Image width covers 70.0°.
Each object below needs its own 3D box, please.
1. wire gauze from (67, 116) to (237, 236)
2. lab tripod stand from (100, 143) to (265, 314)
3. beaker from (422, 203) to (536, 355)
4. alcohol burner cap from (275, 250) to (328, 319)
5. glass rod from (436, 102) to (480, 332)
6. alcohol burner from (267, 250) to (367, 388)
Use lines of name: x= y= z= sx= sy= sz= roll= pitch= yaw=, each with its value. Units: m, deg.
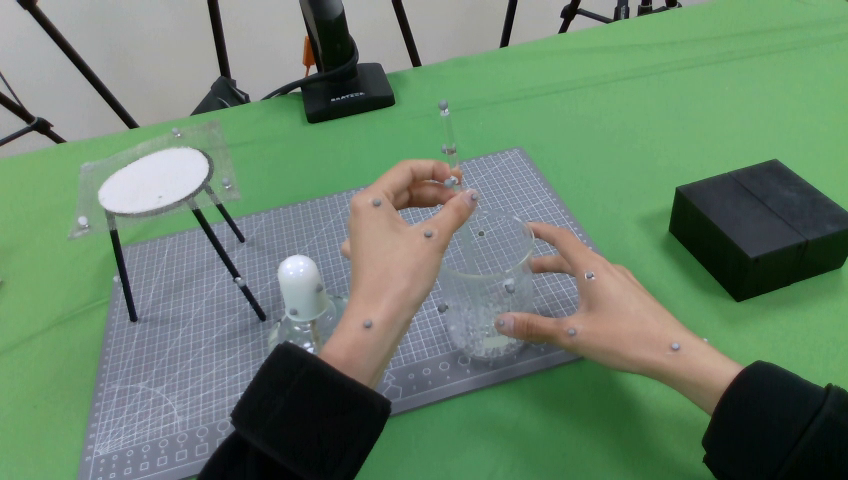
wire gauze: x=-0.218 y=-0.053 z=0.483 sx=0.125 sy=0.011 sz=0.120 roll=-19 pitch=42 yaw=-10
lab tripod stand: x=-0.210 y=-0.004 z=0.528 sx=0.148 sy=0.133 sz=0.147 roll=-5 pitch=44 yaw=5
beaker: x=0.045 y=0.034 z=0.465 sx=0.084 sy=0.101 sz=0.073 roll=-18 pitch=42 yaw=-8
alcohol burner cap: x=-0.089 y=0.029 z=0.429 sx=0.034 sy=0.048 sz=0.033 roll=-4 pitch=39 yaw=4
glass rod: x=0.026 y=-0.005 z=0.432 sx=0.008 sy=0.201 sz=0.008 roll=-7 pitch=37 yaw=6
alcohol burner: x=-0.084 y=0.056 z=0.453 sx=0.078 sy=0.120 sz=0.077 roll=-6 pitch=40 yaw=5
